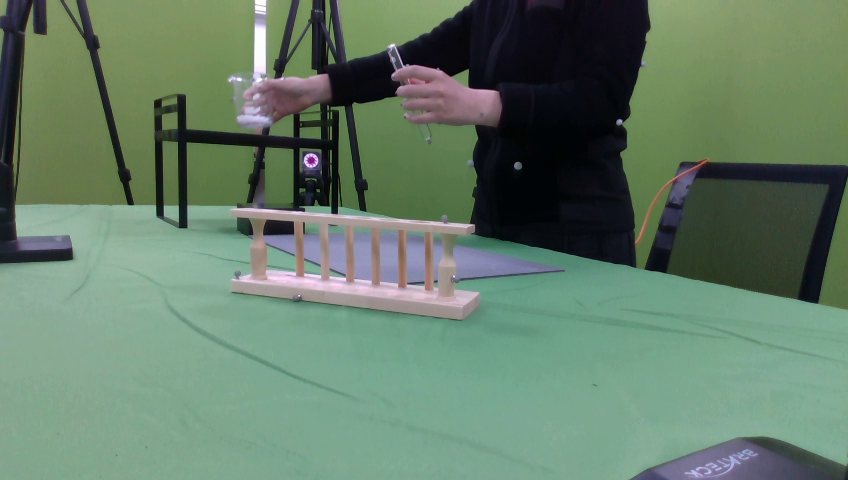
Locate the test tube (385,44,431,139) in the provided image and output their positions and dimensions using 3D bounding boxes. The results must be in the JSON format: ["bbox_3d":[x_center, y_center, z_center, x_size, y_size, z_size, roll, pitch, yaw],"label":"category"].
[{"bbox_3d":[-0.023,-0.224,0.919,0.017,0.150,0.017,-22,14,6],"label":"test tube"}]

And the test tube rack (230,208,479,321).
[{"bbox_3d":[-0.069,0.017,0.598,0.242,0.085,0.067,5,8,18],"label":"test tube rack"}]

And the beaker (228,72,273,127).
[{"bbox_3d":[-0.342,-0.277,1.203,0.084,0.100,0.074,-5,5,-15],"label":"beaker"}]
